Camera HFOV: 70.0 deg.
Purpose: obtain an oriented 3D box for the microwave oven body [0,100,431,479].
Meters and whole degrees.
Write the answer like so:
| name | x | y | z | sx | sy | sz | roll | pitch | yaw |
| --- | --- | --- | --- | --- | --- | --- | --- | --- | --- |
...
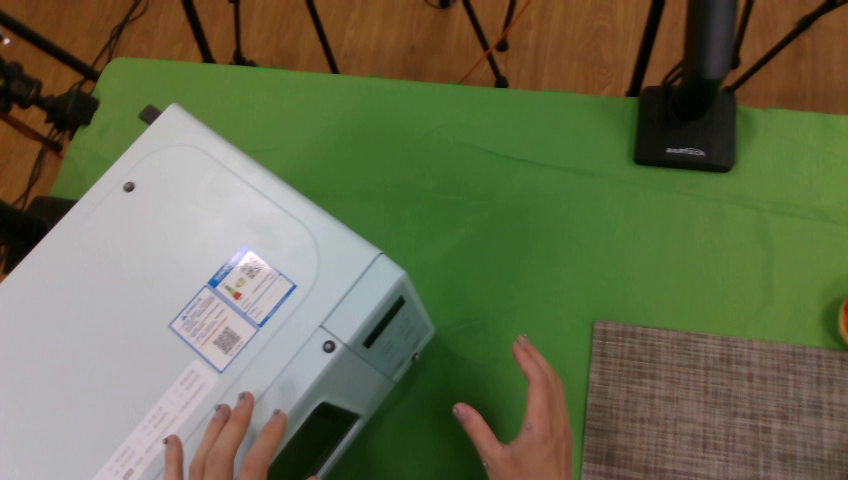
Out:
| name | x | y | z | sx | sy | sz | roll | pitch | yaw |
| --- | --- | --- | --- | --- | --- | --- | --- | --- | --- |
| microwave oven body | -0.257 | 0.142 | 0.624 | 0.324 | 0.262 | 0.441 | 35 | 79 | 17 |

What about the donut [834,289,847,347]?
| name | x | y | z | sx | sy | sz | roll | pitch | yaw |
| --- | --- | --- | --- | --- | --- | --- | --- | --- | --- |
| donut | 0.504 | 0.089 | 0.661 | 0.099 | 0.048 | 0.098 | -4 | 66 | 9 |

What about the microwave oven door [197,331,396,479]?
| name | x | y | z | sx | sy | sz | roll | pitch | yaw |
| --- | --- | --- | --- | --- | --- | --- | --- | --- | --- |
| microwave oven door | -0.168 | 0.251 | 0.567 | 0.039 | 0.245 | 0.355 | 34 | 78 | 19 |

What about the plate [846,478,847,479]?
| name | x | y | z | sx | sy | sz | roll | pitch | yaw |
| --- | --- | --- | --- | --- | --- | --- | --- | --- | --- |
| plate | 0.492 | 0.313 | 0.582 | 0.207 | 0.039 | 0.206 | -2 | 70 | 7 |

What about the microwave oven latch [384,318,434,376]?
| name | x | y | z | sx | sy | sz | roll | pitch | yaw |
| --- | --- | --- | --- | --- | --- | --- | --- | --- | --- |
| microwave oven latch | -0.020 | 0.118 | 0.705 | 0.030 | 0.030 | 0.079 | 37 | 79 | 18 |
